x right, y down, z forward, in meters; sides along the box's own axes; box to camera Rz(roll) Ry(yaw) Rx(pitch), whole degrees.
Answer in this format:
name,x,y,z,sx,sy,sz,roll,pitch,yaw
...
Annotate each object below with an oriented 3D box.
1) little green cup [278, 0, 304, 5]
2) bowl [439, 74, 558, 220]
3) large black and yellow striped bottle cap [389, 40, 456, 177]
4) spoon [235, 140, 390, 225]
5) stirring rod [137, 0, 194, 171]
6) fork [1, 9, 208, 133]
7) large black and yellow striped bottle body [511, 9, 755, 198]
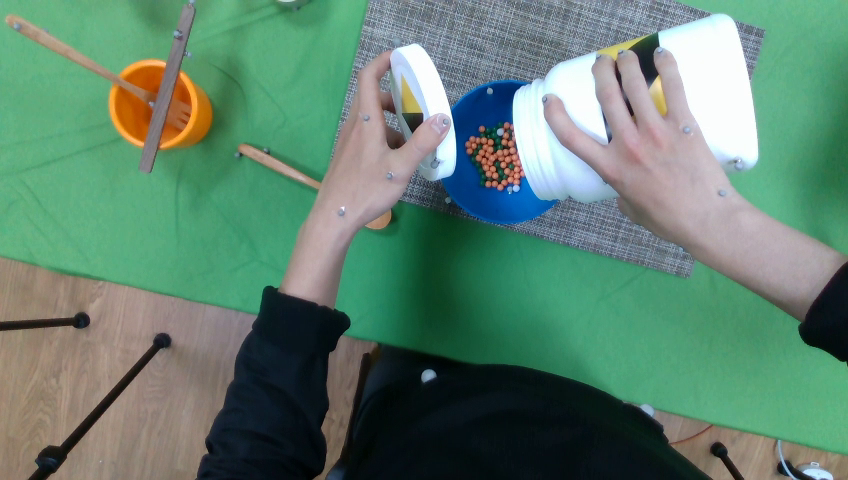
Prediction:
name,x,y,z,sx,sy,sz,roll,pitch,yaw
little green cup,-0.150,-0.289,0.662,0.061,0.038,0.061,0,96,-1
bowl,0.083,-0.099,0.669,0.151,0.076,0.151,0,96,-2
large black and yellow striped bottle cap,-0.003,-0.110,0.519,0.019,0.114,0.115,-18,96,-14
spoon,-0.128,-0.071,0.696,0.194,0.021,0.042,26,108,-5
stirring rod,-0.263,-0.156,0.615,0.014,0.006,0.176,17,95,-6
fork,-0.314,-0.167,0.615,0.028,0.018,0.209,-54,138,5
large black and yellow striped bottle body,0.180,-0.111,0.535,0.183,0.131,0.131,-11,96,25
